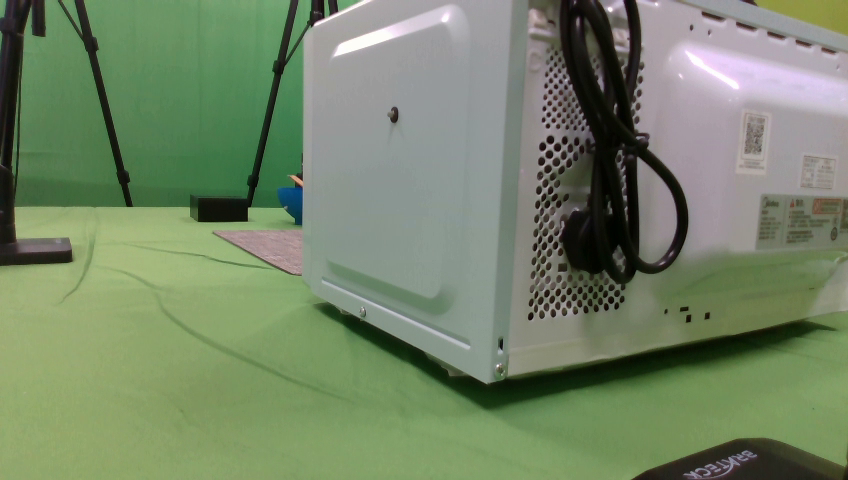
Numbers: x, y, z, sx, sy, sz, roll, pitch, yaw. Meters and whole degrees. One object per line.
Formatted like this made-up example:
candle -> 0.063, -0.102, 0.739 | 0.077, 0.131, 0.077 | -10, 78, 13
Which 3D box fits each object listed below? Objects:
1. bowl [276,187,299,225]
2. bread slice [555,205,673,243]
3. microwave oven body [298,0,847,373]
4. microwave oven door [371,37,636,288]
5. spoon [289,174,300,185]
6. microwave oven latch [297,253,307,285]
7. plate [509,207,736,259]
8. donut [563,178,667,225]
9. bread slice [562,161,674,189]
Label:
bowl -> -0.241, -0.073, 1.302 | 0.151, 0.077, 0.151 | 2, 7, 0
bread slice -> 0.184, -0.017, 0.580 | 0.107, 0.018, 0.134 | -4, 8, 10
microwave oven body -> 0.151, -0.055, 0.542 | 0.444, 0.260, 0.324 | -1, 7, -33
microwave oven door -> 0.109, -0.080, 0.686 | 0.358, 0.243, 0.039 | -2, 9, -33
spoon -> -0.261, -0.111, 1.343 | 0.042, 0.021, 0.192 | -7, 33, -31
microwave oven latch -> -0.081, 0.027, 0.582 | 0.079, 0.029, 0.030 | -1, 7, -32
plate -> 0.186, -0.009, 0.588 | 0.208, 0.039, 0.207 | 1, 5, 0
donut -> 0.185, -0.037, 0.587 | 0.099, 0.048, 0.099 | -2, 3, 0
bread slice -> 0.186, -0.063, 0.578 | 0.104, 0.019, 0.132 | 6, 5, 15
